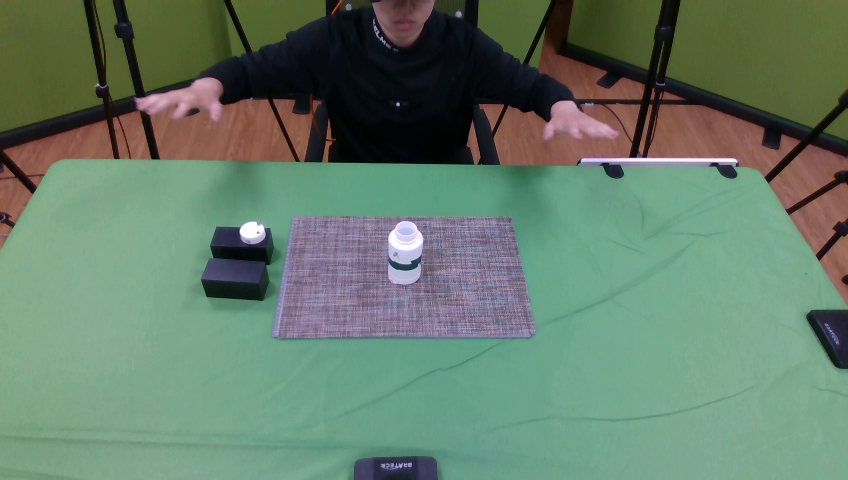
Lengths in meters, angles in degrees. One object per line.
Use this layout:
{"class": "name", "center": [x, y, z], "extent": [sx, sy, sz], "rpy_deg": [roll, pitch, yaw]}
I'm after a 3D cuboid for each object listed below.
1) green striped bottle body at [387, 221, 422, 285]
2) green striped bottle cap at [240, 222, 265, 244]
{"class": "green striped bottle body", "center": [-0.035, 0.021, 1.103], "extent": [0.063, 0.120, 0.063], "rpy_deg": [2, 46, -2]}
{"class": "green striped bottle cap", "center": [-0.318, -0.013, 1.123], "extent": [0.044, 0.020, 0.044], "rpy_deg": [0, 45, 0]}
